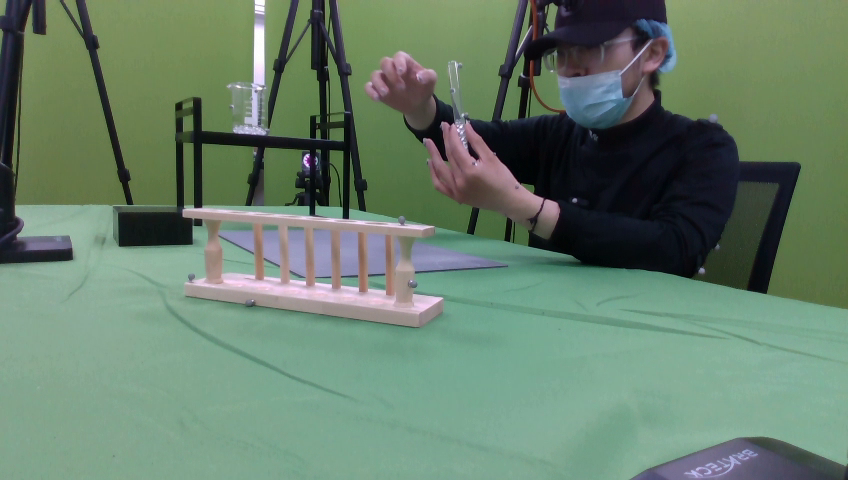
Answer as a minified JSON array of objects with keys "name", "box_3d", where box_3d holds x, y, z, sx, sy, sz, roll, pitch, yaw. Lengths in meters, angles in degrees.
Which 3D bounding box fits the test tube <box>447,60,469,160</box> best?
[{"name":"test tube","box_3d":[0.050,-0.191,0.889,0.017,0.150,0.017,-7,-5,0]}]

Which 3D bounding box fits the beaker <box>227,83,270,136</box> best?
[{"name":"beaker","box_3d":[-0.354,-0.262,1.224,0.084,0.100,0.073,-2,8,-28]}]

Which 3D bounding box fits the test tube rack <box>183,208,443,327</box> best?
[{"name":"test tube rack","box_3d":[-0.106,0.019,0.570,0.241,0.085,0.067,5,8,19]}]
